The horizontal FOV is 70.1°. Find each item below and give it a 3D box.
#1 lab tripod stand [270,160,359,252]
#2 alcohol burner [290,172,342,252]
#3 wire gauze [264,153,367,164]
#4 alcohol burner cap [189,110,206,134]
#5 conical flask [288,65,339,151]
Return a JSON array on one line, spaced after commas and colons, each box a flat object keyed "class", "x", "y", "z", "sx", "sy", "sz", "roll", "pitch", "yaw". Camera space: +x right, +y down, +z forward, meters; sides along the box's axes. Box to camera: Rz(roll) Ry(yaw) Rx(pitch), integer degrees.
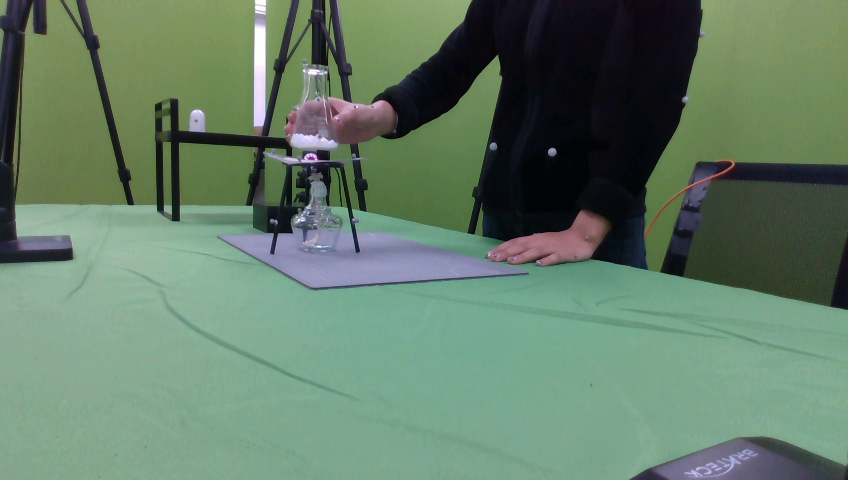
[{"class": "lab tripod stand", "x": -0.167, "y": -0.051, "z": 0.892, "sx": 0.148, "sy": 0.131, "sz": 0.148, "roll": 4, "pitch": 9, "yaw": 0}, {"class": "alcohol burner", "x": -0.159, "y": -0.041, "z": 0.899, "sx": 0.078, "sy": 0.119, "sz": 0.078, "roll": 5, "pitch": 8, "yaw": 0}, {"class": "wire gauze", "x": -0.160, "y": -0.118, "z": 0.888, "sx": 0.122, "sy": 0.011, "sz": 0.124, "roll": -3, "pitch": 10, "yaw": -32}, {"class": "alcohol burner cap", "x": -0.464, "y": -0.242, "z": 1.240, "sx": 0.034, "sy": 0.048, "sz": 0.034, "roll": 4, "pitch": 7, "yaw": 0}, {"class": "conical flask", "x": -0.163, "y": -0.195, "z": 0.899, "sx": 0.075, "sy": 0.122, "sz": 0.075, "roll": 3, "pitch": 8, "yaw": 0}]
